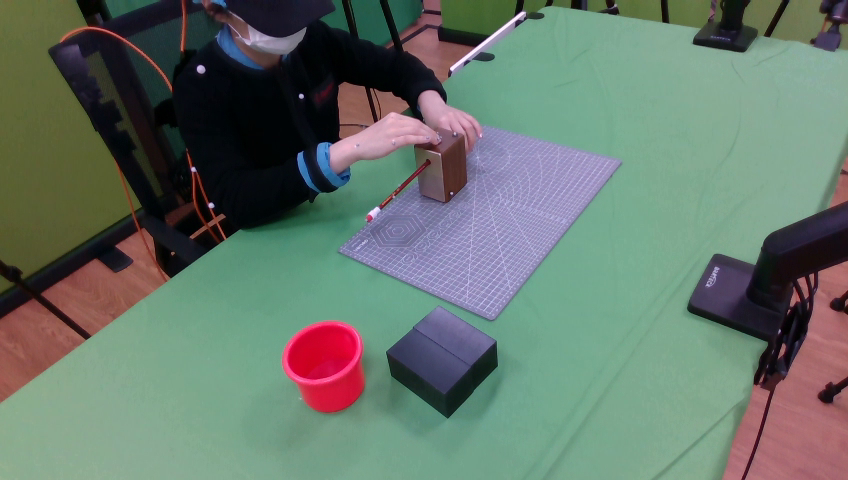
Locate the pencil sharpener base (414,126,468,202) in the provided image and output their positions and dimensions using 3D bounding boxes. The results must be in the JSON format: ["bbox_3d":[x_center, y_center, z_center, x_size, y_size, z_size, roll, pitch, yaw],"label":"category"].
[{"bbox_3d":[0.032,-0.132,1.047,0.061,0.107,0.077,21,48,30],"label":"pencil sharpener base"}]

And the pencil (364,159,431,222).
[{"bbox_3d":[-0.032,-0.091,0.977,0.012,0.012,0.194,24,55,31],"label":"pencil"}]

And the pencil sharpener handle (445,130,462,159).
[{"bbox_3d":[0.055,-0.173,1.072,0.036,0.068,0.031,38,54,10],"label":"pencil sharpener handle"}]
